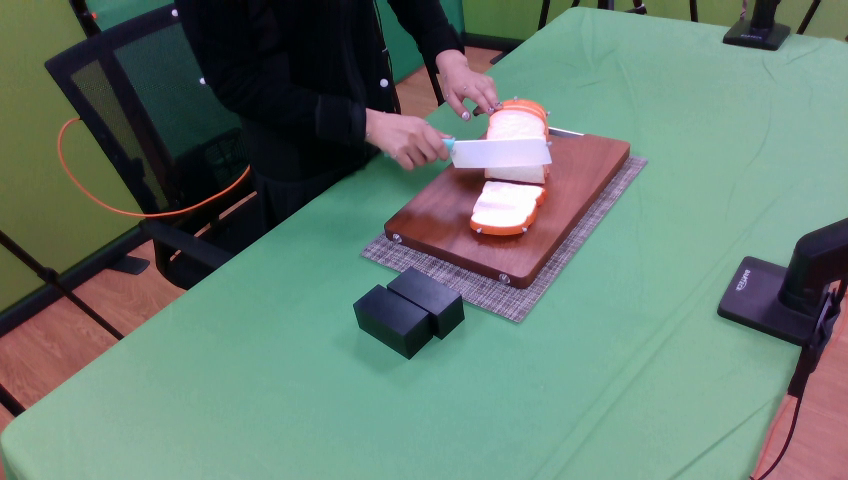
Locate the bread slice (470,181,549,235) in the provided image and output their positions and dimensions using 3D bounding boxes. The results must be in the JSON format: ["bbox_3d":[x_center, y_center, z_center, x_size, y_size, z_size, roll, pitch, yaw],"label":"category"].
[{"bbox_3d":[0.131,-0.054,0.975,0.106,0.018,0.134,9,40,25],"label":"bread slice"}]

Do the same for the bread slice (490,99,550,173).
[{"bbox_3d":[0.165,-0.177,1.034,0.104,0.132,0.019,4,34,15],"label":"bread slice"}]

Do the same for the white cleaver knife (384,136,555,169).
[{"bbox_3d":[0.064,-0.137,0.969,0.285,0.066,0.021,4,48,24],"label":"white cleaver knife"}]
